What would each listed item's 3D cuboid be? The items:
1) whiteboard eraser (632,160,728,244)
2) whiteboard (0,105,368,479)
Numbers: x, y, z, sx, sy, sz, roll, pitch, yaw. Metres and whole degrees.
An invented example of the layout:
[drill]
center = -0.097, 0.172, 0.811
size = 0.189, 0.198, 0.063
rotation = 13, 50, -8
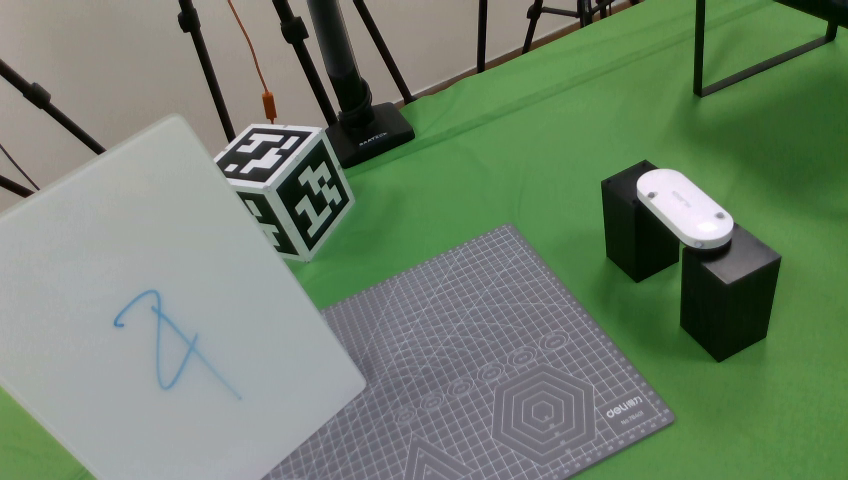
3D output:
[whiteboard eraser]
center = 0.213, -0.035, 0.510
size = 0.041, 0.019, 0.100
rotation = -22, 43, -3
[whiteboard]
center = -0.234, 0.069, 0.546
size = 0.217, 0.308, 0.142
rotation = -39, 26, -20
